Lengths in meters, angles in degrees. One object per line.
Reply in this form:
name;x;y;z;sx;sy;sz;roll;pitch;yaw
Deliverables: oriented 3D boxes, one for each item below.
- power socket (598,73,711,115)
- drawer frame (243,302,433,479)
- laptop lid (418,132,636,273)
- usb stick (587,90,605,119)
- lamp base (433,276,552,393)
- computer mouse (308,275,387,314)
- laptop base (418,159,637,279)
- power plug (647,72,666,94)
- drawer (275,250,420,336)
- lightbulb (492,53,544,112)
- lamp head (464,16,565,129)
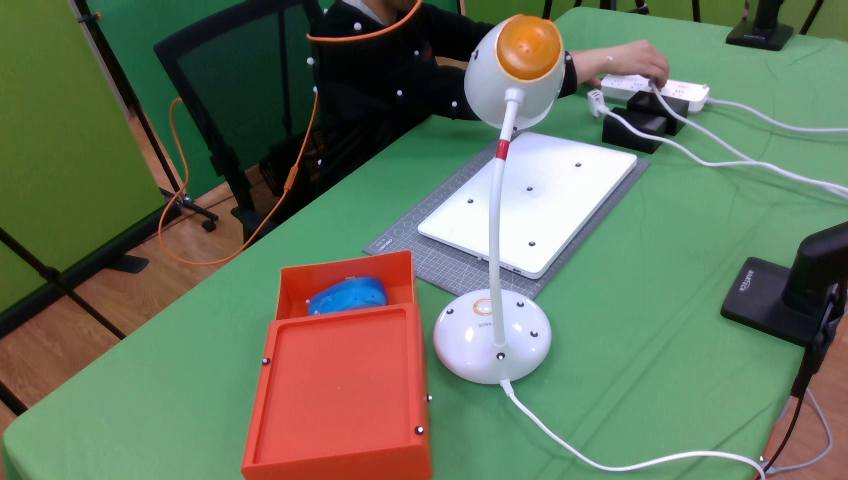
power socket;0.470;-0.303;1.248;0.225;0.033;0.072;20;49;30
drawer frame;-0.096;0.185;0.738;0.202;0.083;0.212;-8;40;1
laptop lid;0.182;-0.083;1.036;0.239;0.013;0.358;22;49;35
usb stick;0.334;-0.257;1.170;0.021;0.059;0.027;-27;44;-5
lamp base;0.085;0.075;0.756;0.161;0.181;0.178;-14;44;-6
computer mouse;-0.112;0.089;0.881;0.117;0.041;0.062;-16;42;-1
laptop base;0.185;-0.073;1.042;0.233;0.023;0.355;20;47;35
power plug;0.454;-0.306;1.209;0.073;0.053;0.035;-39;41;-25
drawer;-0.103;0.117;0.825;0.194;0.073;0.210;-8;40;1
lightbulb;0.109;-0.181;0.679;0.059;0.059;0.108;-9;-4;0
lamp head;0.101;-0.184;0.655;0.112;0.112;0.123;-9;1;0
